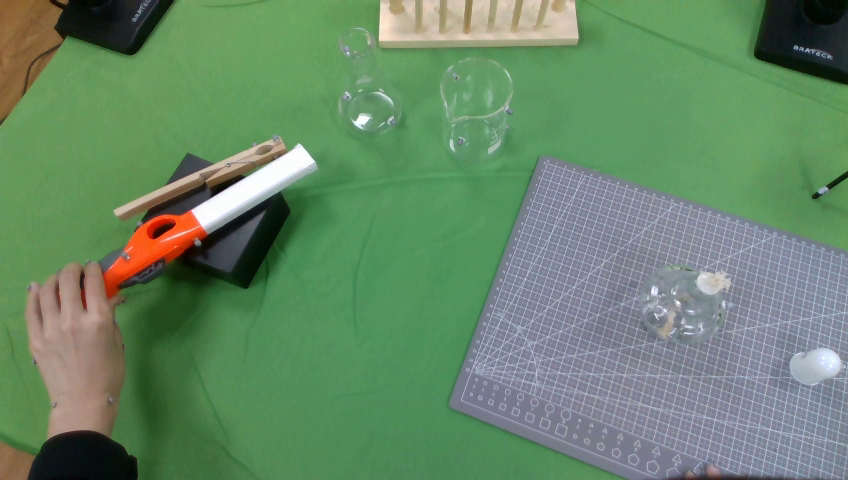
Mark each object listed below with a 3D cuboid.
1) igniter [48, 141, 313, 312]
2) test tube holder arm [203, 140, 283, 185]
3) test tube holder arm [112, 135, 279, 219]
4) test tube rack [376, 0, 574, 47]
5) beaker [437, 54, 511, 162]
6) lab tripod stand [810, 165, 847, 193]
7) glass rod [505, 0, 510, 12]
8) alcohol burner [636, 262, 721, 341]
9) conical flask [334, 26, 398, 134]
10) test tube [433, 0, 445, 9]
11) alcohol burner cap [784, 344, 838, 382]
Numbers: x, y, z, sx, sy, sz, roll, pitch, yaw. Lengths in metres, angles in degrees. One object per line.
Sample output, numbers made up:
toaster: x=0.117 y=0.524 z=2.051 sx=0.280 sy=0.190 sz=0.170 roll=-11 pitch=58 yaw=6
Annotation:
igniter: x=-0.235 y=-0.014 z=0.598 sx=0.276 sy=0.025 sz=0.057 roll=-35 pitch=67 yaw=-14
test tube holder arm: x=-0.187 y=-0.080 z=0.627 sx=0.088 sy=0.015 sz=0.010 roll=-24 pitch=68 yaw=-9
test tube holder arm: x=-0.230 y=-0.065 z=0.622 sx=0.178 sy=0.015 sz=0.013 roll=-25 pitch=68 yaw=-9
test tube rack: x=0.061 y=-0.286 z=0.721 sx=0.242 sy=0.086 sz=0.066 roll=0 pitch=68 yaw=1
beaker: x=0.050 y=-0.135 z=0.653 sx=0.073 sy=0.101 sz=0.084 roll=34 pitch=73 yaw=15
lab tripod stand: x=0.493 y=-0.091 z=0.607 sx=0.148 sy=0.132 sz=0.147 roll=0 pitch=67 yaw=0
glass rod: x=0.094 y=-0.334 z=0.668 sx=0.008 sy=0.201 sz=0.008 roll=-2 pitch=60 yaw=4
alcohol burner: x=0.242 y=0.052 z=0.563 sx=0.078 sy=0.120 sz=0.077 roll=0 pitch=67 yaw=0
conical flask: x=-0.069 y=-0.177 z=0.660 sx=0.075 sy=0.123 sz=0.075 roll=-1 pitch=67 yaw=2
test tube: x=0.021 y=-0.323 z=0.683 sx=0.017 sy=0.151 sz=0.017 roll=1 pitch=62 yaw=-2
alcohol burner cap: x=0.369 y=0.114 z=0.574 sx=0.034 sy=0.048 sz=0.033 roll=0 pitch=68 yaw=1
